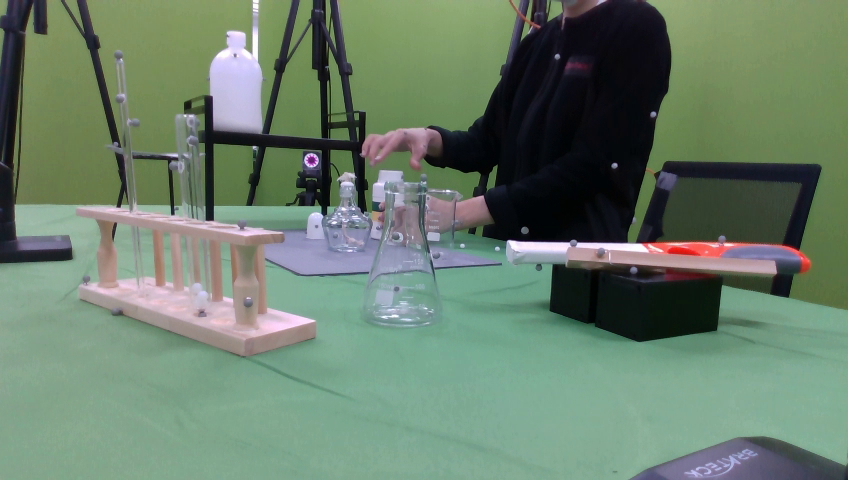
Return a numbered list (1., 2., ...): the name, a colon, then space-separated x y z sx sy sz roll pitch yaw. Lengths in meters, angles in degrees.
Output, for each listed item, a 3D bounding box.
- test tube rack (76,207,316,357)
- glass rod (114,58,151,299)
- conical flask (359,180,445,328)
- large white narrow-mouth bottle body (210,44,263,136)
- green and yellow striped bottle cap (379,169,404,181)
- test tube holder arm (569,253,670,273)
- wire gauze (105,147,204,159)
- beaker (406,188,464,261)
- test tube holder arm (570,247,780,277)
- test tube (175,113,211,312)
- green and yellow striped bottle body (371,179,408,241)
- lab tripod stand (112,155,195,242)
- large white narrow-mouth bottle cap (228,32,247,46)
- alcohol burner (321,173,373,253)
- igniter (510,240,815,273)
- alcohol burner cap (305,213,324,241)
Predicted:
1. test tube rack: -0.196 0.023 0.500 0.241 0.085 0.067 8 9 36
2. glass rod: -0.236 -0.044 0.492 0.008 0.199 0.008 0 15 0
3. conical flask: -0.017 0.010 0.522 0.075 0.122 0.075 2 7 0
4. large white narrow-mouth bottle body: -0.369 -0.305 1.194 0.102 0.194 0.102 3 8 0
5. green and yellow striped bottle cap: -0.056 -0.112 1.051 0.045 0.020 0.045 2 6 0
6. test tube holder arm: 0.172 0.019 0.532 0.088 0.015 0.010 3 -23 3
7. wire gauze: -0.407 -0.131 0.928 0.125 0.011 0.121 2 6 -11
8. beaker: 0.014 -0.023 0.870 0.084 0.100 0.074 3 8 -4
9. test tube holder arm: 0.217 0.019 0.525 0.178 0.015 0.013 3 -23 3
10. test tube: -0.174 -0.020 0.458 0.017 0.150 0.017 -3 5 1
11. green and yellow striped bottle body: -0.060 -0.061 1.059 0.063 0.119 0.063 3 7 0
12. lab tripod stand: -0.405 -0.064 0.931 0.148 0.131 0.148 1 6 0
13. large white narrow-mouth bottle cap: -0.364 -0.390 1.180 0.038 0.024 0.037 3 8 0
14. alcohol burner: -0.115 -0.041 0.905 0.078 0.119 0.078 1 6 0
15. igniter: 0.220 0.015 0.565 0.277 0.025 0.057 2 16 0
16. alcohol burner cap: -0.185 -0.023 1.027 0.034 0.048 0.034 2 6 0
